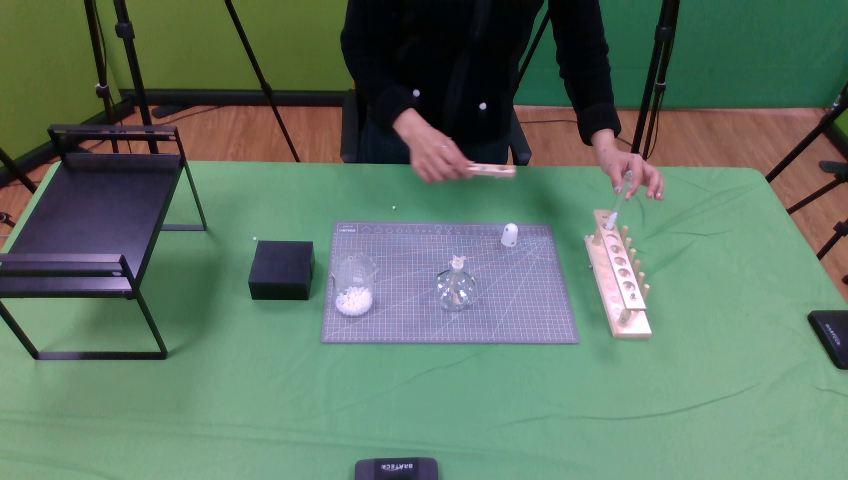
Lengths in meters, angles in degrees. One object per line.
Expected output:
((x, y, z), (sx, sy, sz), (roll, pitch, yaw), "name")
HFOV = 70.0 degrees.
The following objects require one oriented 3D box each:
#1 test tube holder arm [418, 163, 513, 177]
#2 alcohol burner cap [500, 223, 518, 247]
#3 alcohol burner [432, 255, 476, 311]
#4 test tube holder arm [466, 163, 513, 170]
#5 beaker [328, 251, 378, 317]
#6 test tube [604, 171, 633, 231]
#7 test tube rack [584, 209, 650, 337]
((0.075, -0.131, 1.119), (0.178, 0.015, 0.013), (4, 54, 14), "test tube holder arm")
((0.172, -0.013, 1.206), (0.034, 0.048, 0.033), (2, 45, -1), "alcohol burner cap")
((0.055, 0.070, 1.068), (0.078, 0.119, 0.077), (3, 45, -3), "alcohol burner")
((0.120, -0.131, 1.111), (0.087, 0.015, 0.010), (5, 54, 14), "test tube holder arm")
((-0.123, 0.079, 1.055), (0.084, 0.101, 0.073), (0, 47, -5), "beaker")
((0.352, -0.066, 1.104), (0.017, 0.151, 0.017), (1, 50, -1), "test tube")
((0.365, 0.056, 1.129), (0.067, 0.085, 0.240), (1, 46, -3), "test tube rack")
